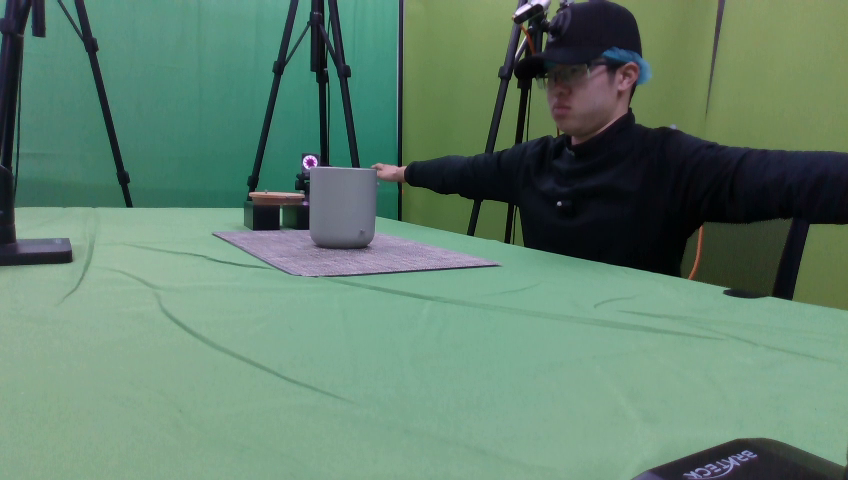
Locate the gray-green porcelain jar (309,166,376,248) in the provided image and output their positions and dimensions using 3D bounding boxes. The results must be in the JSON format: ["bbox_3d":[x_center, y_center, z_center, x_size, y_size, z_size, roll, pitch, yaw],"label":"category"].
[{"bbox_3d":[-0.130,-0.054,0.966,0.106,0.126,0.106,2,7,0],"label":"gray-green porcelain jar"}]

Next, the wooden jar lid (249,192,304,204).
[{"bbox_3d":[-0.297,-0.086,1.220,0.108,0.020,0.108,4,7,0],"label":"wooden jar lid"}]
